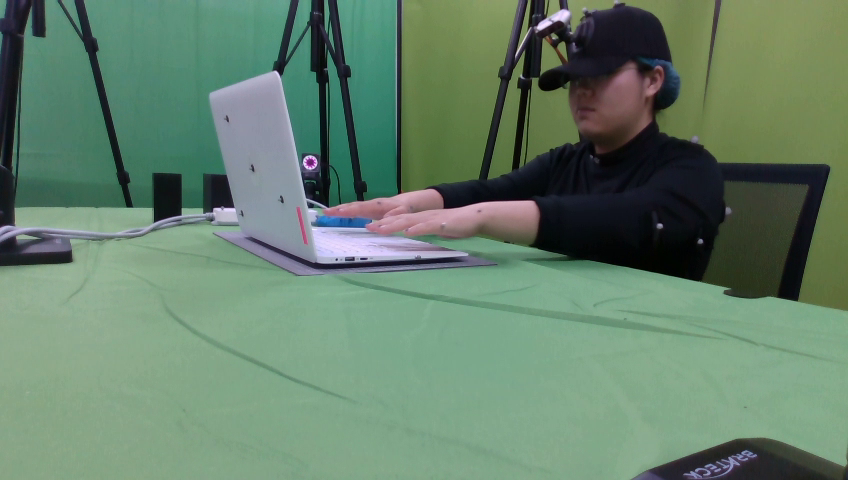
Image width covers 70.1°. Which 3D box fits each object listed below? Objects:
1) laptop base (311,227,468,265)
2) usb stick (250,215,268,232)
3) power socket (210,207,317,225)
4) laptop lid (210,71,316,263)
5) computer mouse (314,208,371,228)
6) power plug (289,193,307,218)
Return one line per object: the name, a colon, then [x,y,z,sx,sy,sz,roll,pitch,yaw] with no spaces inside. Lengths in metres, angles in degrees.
laptop base: [-0.123,0.007,0.951,0.237,0.023,0.352,2,6,-32]
usb stick: [-0.290,-0.028,1.069,0.021,0.027,0.059,-1,11,-30]
power socket: [-0.335,-0.051,1.281,0.228,0.032,0.072,-1,8,-28]
laptop lid: [-0.241,-0.104,0.861,0.013,0.241,0.355,-16,17,-29]
computer mouse: [-0.173,-0.046,1.284,0.118,0.041,0.062,-7,13,-30]
power plug: [-0.281,-0.076,1.340,0.035,0.052,0.072,4,5,-18]
